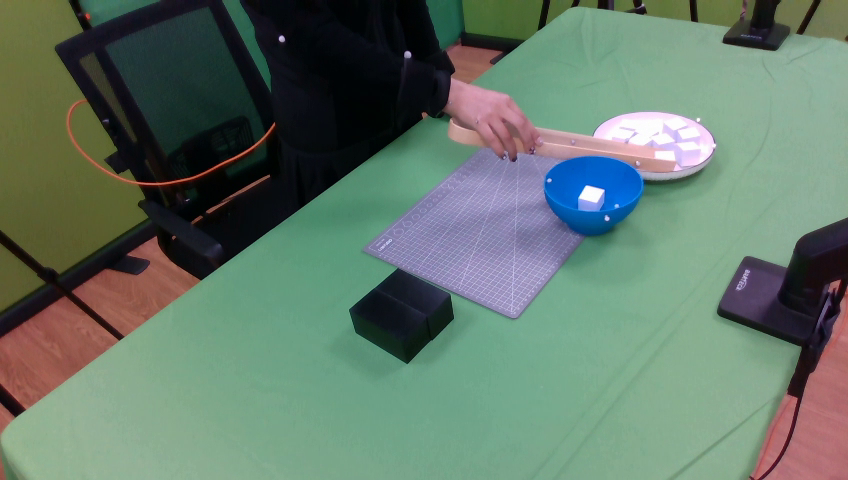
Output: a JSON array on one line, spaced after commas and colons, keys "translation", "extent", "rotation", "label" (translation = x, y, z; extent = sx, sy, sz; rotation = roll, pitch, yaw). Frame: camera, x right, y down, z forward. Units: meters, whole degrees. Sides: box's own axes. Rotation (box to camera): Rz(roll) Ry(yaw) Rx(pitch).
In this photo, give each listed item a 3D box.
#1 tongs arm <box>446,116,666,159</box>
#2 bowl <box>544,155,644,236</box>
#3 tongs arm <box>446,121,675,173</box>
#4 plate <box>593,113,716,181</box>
[{"translation": [0.228, -0.164, 1.018], "extent": [0.386, 0.026, 0.050], "rotation": [10, 34, -5], "label": "tongs arm"}, {"translation": [0.266, -0.061, 0.957], "extent": [0.151, 0.077, 0.150], "rotation": [-5, 40, 5], "label": "bowl"}, {"translation": [0.229, -0.149, 0.995], "extent": [0.389, 0.028, 0.028], "rotation": [8, 38, -7], "label": "tongs arm"}, {"translation": [0.408, -0.163, 1.084], "extent": [0.207, 0.039, 0.206], "rotation": [-4, 39, 4], "label": "plate"}]
